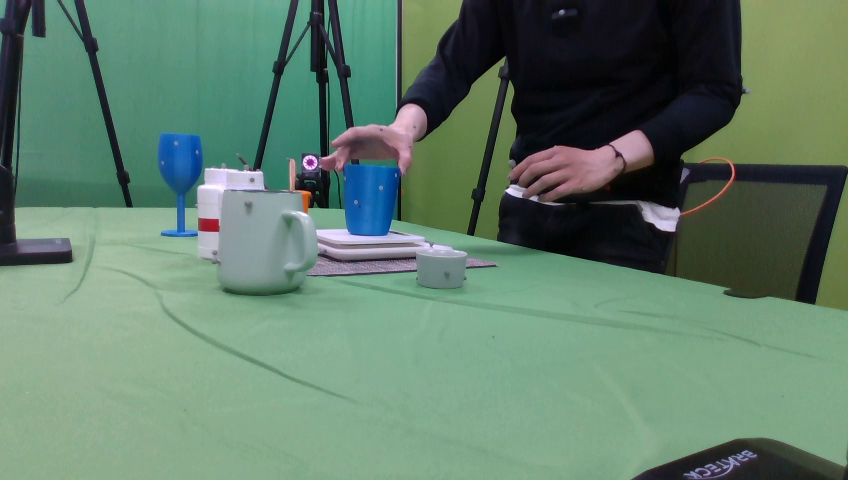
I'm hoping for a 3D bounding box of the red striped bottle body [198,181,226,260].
[{"bbox_3d":[-0.275,-0.036,0.827,0.063,0.119,0.063,1,7,0],"label":"red striped bottle body"}]

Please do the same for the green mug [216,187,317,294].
[{"bbox_3d":[-0.157,0.000,0.629,0.124,0.105,0.093,7,9,37],"label":"green mug"}]

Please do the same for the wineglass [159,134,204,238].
[{"bbox_3d":[-0.415,-0.093,1.040,0.074,0.172,0.073,2,7,0],"label":"wineglass"}]

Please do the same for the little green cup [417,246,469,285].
[{"bbox_3d":[0.021,0.029,0.701,0.061,0.038,0.061,1,6,0],"label":"little green cup"}]

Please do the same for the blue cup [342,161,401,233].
[{"bbox_3d":[-0.079,-0.062,0.883,0.093,0.100,0.092,3,5,0],"label":"blue cup"}]

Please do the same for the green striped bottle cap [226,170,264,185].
[{"bbox_3d":[-0.222,-0.077,0.748,0.044,0.020,0.044,1,7,0],"label":"green striped bottle cap"}]

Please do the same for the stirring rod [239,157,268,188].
[{"bbox_3d":[-0.309,-0.098,1.209,0.006,0.177,0.014,-39,29,-4],"label":"stirring rod"}]

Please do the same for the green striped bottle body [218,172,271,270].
[{"bbox_3d":[-0.223,-0.025,0.755,0.063,0.119,0.063,1,7,0],"label":"green striped bottle body"}]

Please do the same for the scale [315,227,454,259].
[{"bbox_3d":[-0.066,0.001,0.906,0.202,0.031,0.148,-2,8,-31],"label":"scale"}]

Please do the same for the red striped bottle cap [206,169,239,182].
[{"bbox_3d":[-0.273,-0.088,0.821,0.044,0.017,0.044,-2,6,1],"label":"red striped bottle cap"}]

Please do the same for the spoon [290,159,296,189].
[{"bbox_3d":[-0.273,-0.102,1.252,0.042,0.193,0.021,7,-38,-17],"label":"spoon"}]
